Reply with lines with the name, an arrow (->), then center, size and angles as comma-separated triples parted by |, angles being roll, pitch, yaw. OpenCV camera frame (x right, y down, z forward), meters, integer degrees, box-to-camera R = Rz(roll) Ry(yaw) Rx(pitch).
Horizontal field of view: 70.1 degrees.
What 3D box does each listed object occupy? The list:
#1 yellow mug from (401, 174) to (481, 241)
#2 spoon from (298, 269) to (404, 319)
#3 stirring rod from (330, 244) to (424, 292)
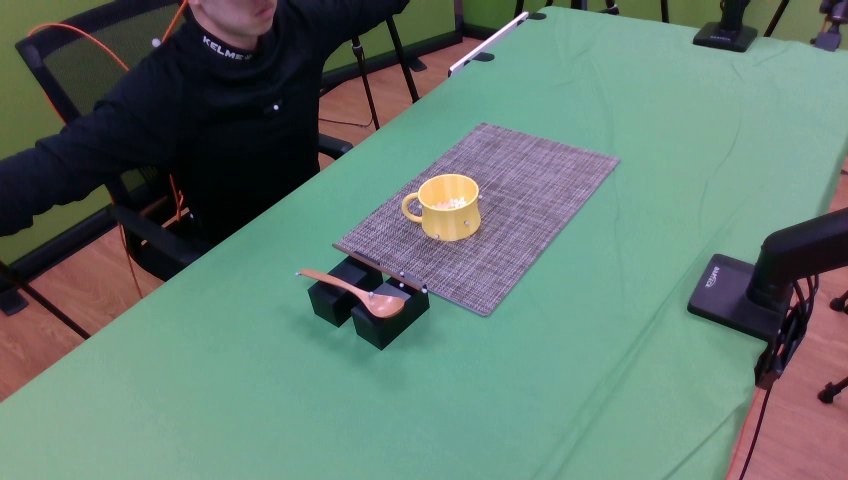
yellow mug -> 0.026, -0.054, 0.988 | 0.130, 0.064, 0.099 | -1, 40, 8
spoon -> -0.106, 0.068, 0.831 | 0.192, 0.022, 0.042 | 21, 48, 32
stirring rod -> -0.070, 0.038, 0.863 | 0.175, 0.006, 0.014 | 24, 12, 31
